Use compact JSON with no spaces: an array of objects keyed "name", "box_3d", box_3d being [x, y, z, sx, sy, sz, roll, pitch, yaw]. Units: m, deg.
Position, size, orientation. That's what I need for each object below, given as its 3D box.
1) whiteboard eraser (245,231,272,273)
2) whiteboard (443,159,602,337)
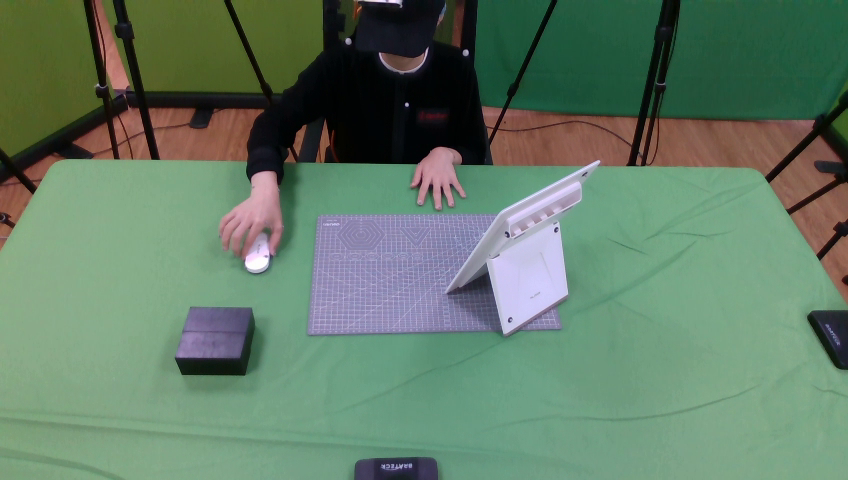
[{"name":"whiteboard eraser","box_3d":[-0.315,0.023,1.156,0.041,0.019,0.100,-1,45,-4]},{"name":"whiteboard","box_3d":[0.193,0.036,1.018,0.217,0.306,0.143,-26,72,-26]}]
